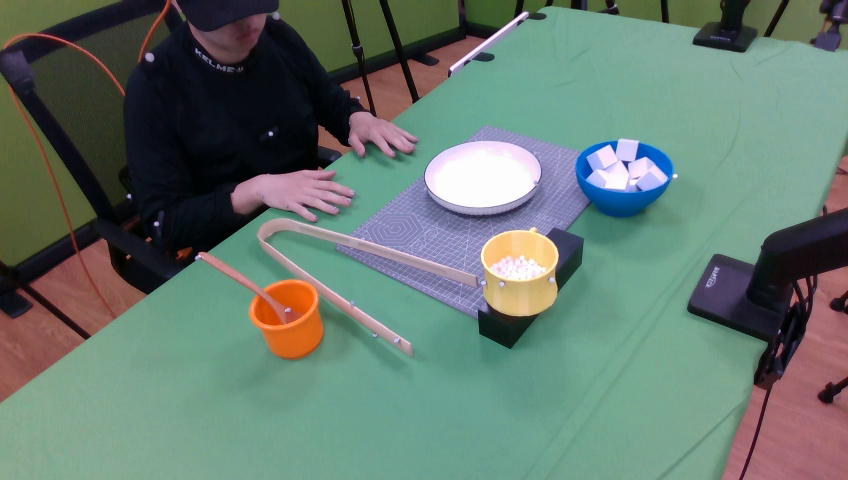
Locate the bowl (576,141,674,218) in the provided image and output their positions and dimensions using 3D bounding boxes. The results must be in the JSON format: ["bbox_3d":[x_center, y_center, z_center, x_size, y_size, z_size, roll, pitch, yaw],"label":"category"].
[{"bbox_3d":[0.321,-0.089,0.984,0.151,0.077,0.150,-4,40,4],"label":"bowl"}]

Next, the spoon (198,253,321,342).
[{"bbox_3d":[-0.220,0.075,0.814,0.021,0.194,0.041,-37,18,39],"label":"spoon"}]

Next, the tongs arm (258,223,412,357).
[{"bbox_3d":[-0.141,0.063,0.905,0.381,0.026,0.051,27,52,35],"label":"tongs arm"}]

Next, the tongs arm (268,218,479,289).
[{"bbox_3d":[-0.090,0.018,0.952,0.385,0.028,0.028,15,50,26],"label":"tongs arm"}]

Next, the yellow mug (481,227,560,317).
[{"bbox_3d":[0.131,0.032,0.801,0.099,0.064,0.131,11,43,20],"label":"yellow mug"}]

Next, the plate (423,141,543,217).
[{"bbox_3d":[0.103,-0.103,1.059,0.207,0.039,0.206,-4,40,4],"label":"plate"}]
